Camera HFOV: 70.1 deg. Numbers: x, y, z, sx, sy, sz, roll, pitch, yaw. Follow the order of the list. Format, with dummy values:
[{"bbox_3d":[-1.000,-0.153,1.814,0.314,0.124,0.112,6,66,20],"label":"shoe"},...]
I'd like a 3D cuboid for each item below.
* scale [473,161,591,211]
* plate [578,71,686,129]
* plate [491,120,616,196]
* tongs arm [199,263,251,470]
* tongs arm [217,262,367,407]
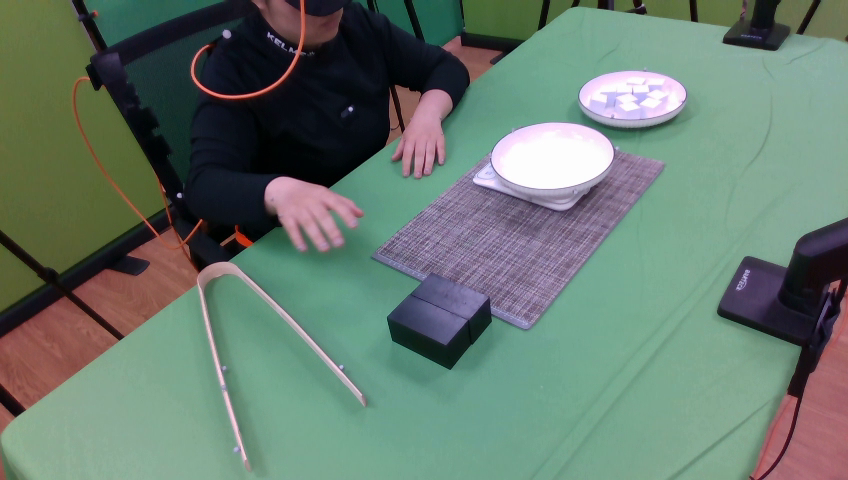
[{"bbox_3d":[0.202,-0.121,1.074,0.199,0.032,0.149,23,49,33],"label":"scale"},{"bbox_3d":[0.416,-0.279,1.222,0.209,0.038,0.208,-5,41,5],"label":"plate"},{"bbox_3d":[0.221,-0.137,1.038,0.207,0.039,0.206,-6,41,5],"label":"plate"},{"bbox_3d":[-0.269,0.154,0.841,0.051,0.026,0.381,-23,41,-17],"label":"tongs arm"},{"bbox_3d":[-0.200,0.122,0.871,0.028,0.028,0.384,-36,46,-24],"label":"tongs arm"}]
